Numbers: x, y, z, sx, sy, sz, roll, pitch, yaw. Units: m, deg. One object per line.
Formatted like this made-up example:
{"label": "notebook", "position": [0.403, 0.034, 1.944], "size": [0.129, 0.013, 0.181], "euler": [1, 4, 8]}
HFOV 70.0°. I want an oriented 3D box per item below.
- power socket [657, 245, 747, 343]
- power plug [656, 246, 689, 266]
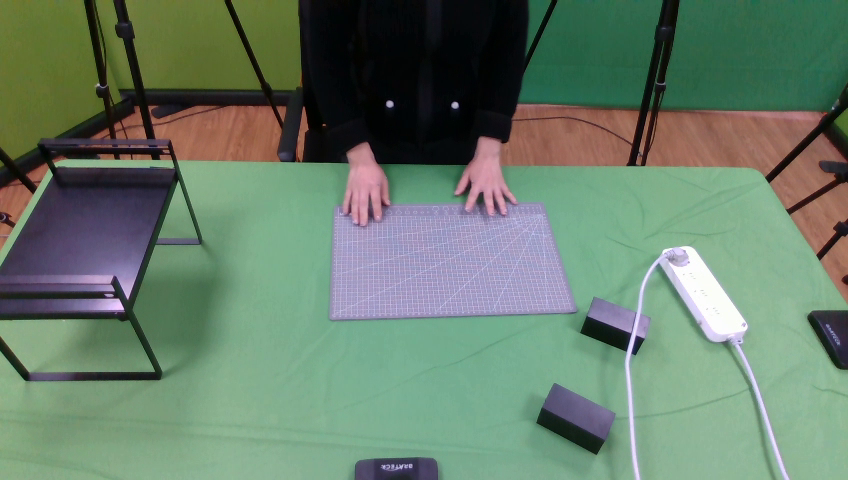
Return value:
{"label": "power socket", "position": [0.516, 0.095, 1.136], "size": [0.072, 0.033, 0.225], "euler": [-8, 48, -10]}
{"label": "power plug", "position": [0.472, 0.034, 1.166], "size": [0.072, 0.053, 0.035], "euler": [-2, 46, -2]}
